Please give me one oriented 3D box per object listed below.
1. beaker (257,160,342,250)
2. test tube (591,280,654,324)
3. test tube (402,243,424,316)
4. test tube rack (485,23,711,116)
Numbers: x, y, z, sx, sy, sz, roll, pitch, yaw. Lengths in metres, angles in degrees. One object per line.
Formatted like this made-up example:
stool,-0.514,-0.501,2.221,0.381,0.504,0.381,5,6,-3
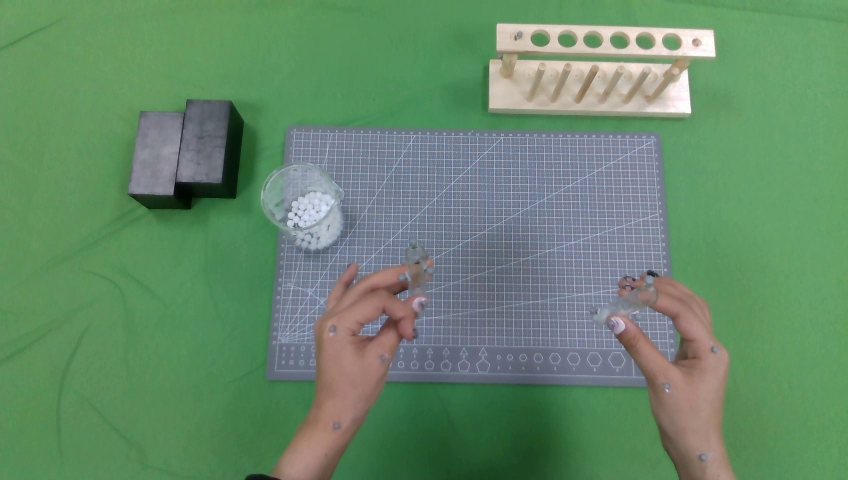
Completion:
beaker,-0.127,-0.033,0.654,0.084,0.100,0.073,-6,76,-3
test tube,0.157,0.053,0.492,0.017,0.151,0.017,-1,76,3
test tube,-0.009,0.037,0.498,0.017,0.151,0.017,0,67,0
test tube rack,0.197,-0.197,0.709,0.242,0.085,0.066,1,76,0
